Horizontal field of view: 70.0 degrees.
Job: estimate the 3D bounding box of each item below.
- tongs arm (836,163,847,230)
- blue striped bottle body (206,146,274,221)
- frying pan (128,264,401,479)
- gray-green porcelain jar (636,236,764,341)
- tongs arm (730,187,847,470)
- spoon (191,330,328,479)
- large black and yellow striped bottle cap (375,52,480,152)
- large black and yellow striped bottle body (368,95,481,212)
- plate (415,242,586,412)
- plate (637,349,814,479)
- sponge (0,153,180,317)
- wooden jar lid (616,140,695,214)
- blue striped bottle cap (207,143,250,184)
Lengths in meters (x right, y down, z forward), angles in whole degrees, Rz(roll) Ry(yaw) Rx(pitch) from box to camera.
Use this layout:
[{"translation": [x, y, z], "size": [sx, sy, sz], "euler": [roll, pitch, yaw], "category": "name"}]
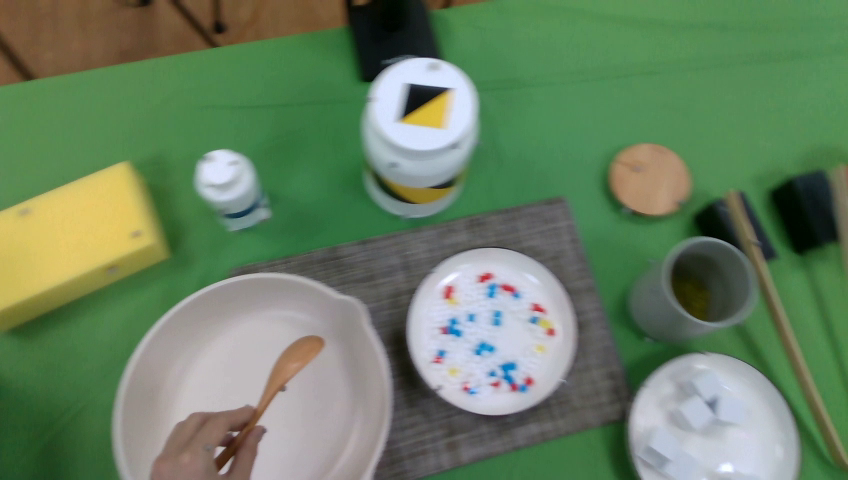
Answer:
[{"translation": [0.550, 0.094, 0.754], "size": [0.028, 0.028, 0.386], "euler": [-2, 83, -12], "category": "tongs arm"}, {"translation": [-0.225, -0.072, 0.739], "size": [0.063, 0.121, 0.062], "euler": [1, 72, -3], "category": "blue striped bottle body"}, {"translation": [-0.100, 0.242, 0.655], "size": [0.306, 0.103, 0.484], "euler": [-42, 72, -14], "category": "frying pan"}, {"translation": [0.323, 0.064, 0.730], "size": [0.106, 0.127, 0.105], "euler": [1, 72, -3], "category": "gray-green porcelain jar"}, {"translation": [0.468, 0.111, 0.742], "size": [0.051, 0.026, 0.383], "euler": [-17, 85, -10], "category": "tongs arm"}, {"translation": [-0.155, 0.158, 0.550], "size": [0.041, 0.022, 0.193], "euler": [24, 74, 49], "category": "spoon"}, {"translation": [0.004, -0.151, 0.658], "size": [0.115, 0.019, 0.114], "euler": [1, 74, -4], "category": "large black and yellow striped bottle cap"}, {"translation": [-0.001, -0.124, 0.737], "size": [0.131, 0.185, 0.130], "euler": [1, 72, -3], "category": "large black and yellow striped bottle body"}, {"translation": [0.092, 0.105, 0.745], "size": [0.209, 0.038, 0.208], "euler": [1, 73, -3], "category": "plate"}, {"translation": [0.354, 0.237, 0.725], "size": [0.208, 0.039, 0.206], "euler": [1, 72, -3], "category": "plate"}, {"translation": [-0.424, -0.007, 0.736], "size": [0.207, 0.061, 0.117], "euler": [-25, 76, -12], "category": "sponge"}, {"translation": [0.315, -0.085, 0.832], "size": [0.108, 0.021, 0.108], "euler": [1, 74, -3], "category": "wooden jar lid"}, {"translation": [-0.222, -0.087, 0.690], "size": [0.044, 0.021, 0.044], "euler": [1, 70, -1], "category": "blue striped bottle cap"}]
